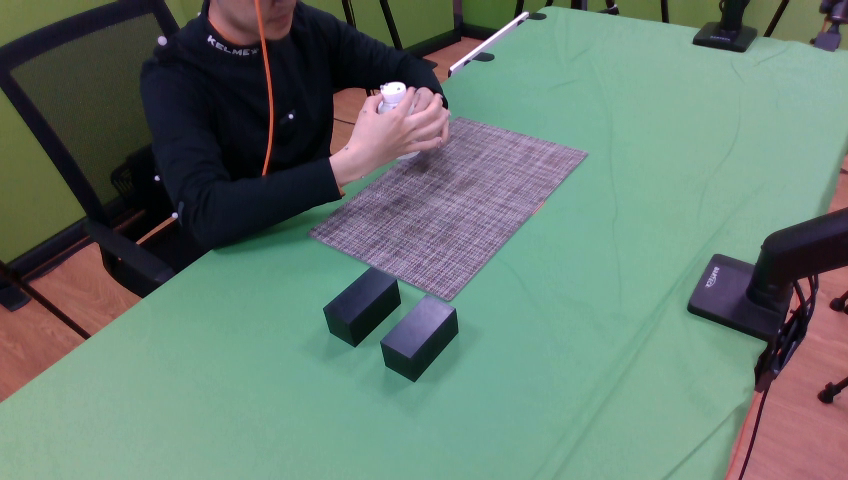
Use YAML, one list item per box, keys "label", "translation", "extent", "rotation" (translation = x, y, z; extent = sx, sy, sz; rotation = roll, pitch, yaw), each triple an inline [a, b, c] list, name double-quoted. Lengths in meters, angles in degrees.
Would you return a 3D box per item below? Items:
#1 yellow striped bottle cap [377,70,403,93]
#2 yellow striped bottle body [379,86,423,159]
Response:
- label: "yellow striped bottle cap"
  translation: [-0.056, -0.265, 1.011]
  extent: [0.044, 0.019, 0.044]
  rotation: [-1, 46, 2]
- label: "yellow striped bottle body"
  translation: [-0.042, -0.210, 1.064]
  extent: [0.063, 0.121, 0.062]
  rotation: [-7, 37, 6]
